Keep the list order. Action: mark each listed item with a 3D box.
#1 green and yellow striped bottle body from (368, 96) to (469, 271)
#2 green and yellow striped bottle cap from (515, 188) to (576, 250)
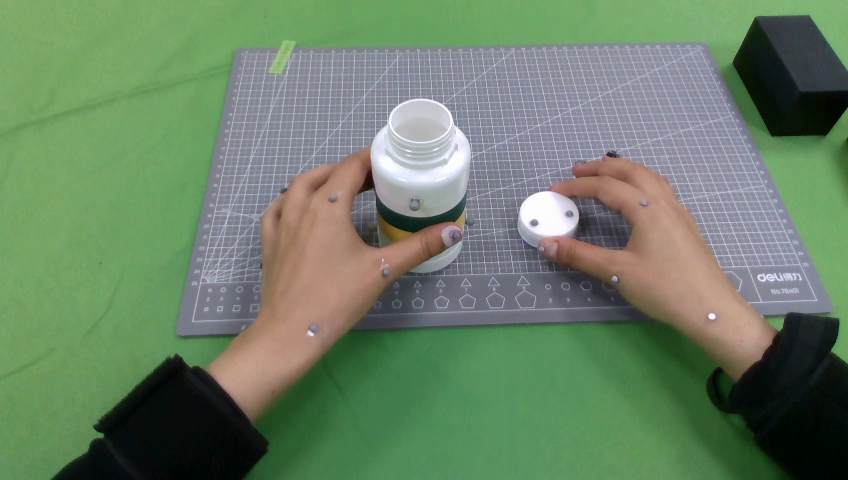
[{"bbox_3d":[-0.004,-0.036,0.399,0.063,0.120,0.062,0,54,0],"label":"green and yellow striped bottle body"},{"bbox_3d":[0.090,-0.017,0.448,0.045,0.020,0.045,-1,56,2],"label":"green and yellow striped bottle cap"}]
